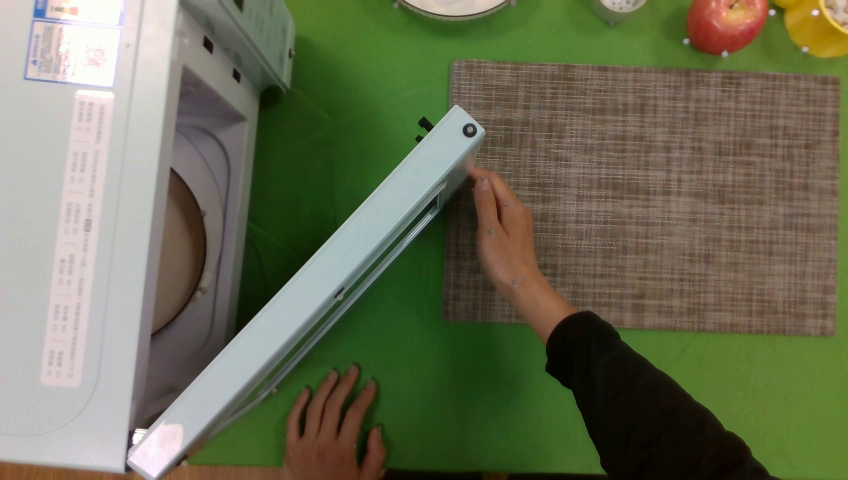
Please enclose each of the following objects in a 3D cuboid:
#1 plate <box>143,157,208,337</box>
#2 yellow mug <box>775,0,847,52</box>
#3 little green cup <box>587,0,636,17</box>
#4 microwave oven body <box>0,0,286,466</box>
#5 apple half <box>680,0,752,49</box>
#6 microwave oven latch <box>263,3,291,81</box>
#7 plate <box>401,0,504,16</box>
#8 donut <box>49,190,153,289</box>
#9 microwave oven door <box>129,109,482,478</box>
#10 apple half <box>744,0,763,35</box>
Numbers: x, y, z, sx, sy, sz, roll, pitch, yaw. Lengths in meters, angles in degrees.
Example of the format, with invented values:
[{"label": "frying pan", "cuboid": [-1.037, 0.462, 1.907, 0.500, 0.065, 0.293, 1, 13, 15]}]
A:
[{"label": "plate", "cuboid": [-0.321, 0.003, 0.613, 0.209, 0.038, 0.209, 0, 88, -1]}, {"label": "yellow mug", "cuboid": [0.449, -0.274, 0.675, 0.131, 0.064, 0.100, 13, 87, 1]}, {"label": "little green cup", "cuboid": [0.214, -0.286, 0.689, 0.061, 0.038, 0.061, 0, 88, 0]}, {"label": "microwave oven body", "cuboid": [-0.328, -0.059, 0.563, 0.326, 0.260, 0.441, 5, 89, 0]}, {"label": "apple half", "cuboid": [0.314, -0.248, 0.671, 0.053, 0.074, 0.081, -24, 92, 4]}, {"label": "microwave oven latch", "cuboid": [-0.164, -0.218, 0.665, 0.030, 0.029, 0.079, 8, 89, 0]}, {"label": "plate", "cuboid": [0.032, -0.353, 0.690, 0.208, 0.039, 0.207, 0, 88, 0]}, {"label": "donut", "cuboid": [-0.319, -0.001, 0.600, 0.099, 0.048, 0.099, 0, 87, 0]}, {"label": "microwave oven door", "cuboid": [-0.086, 0.042, 0.557, 0.039, 0.244, 0.355, 43, 88, 3]}, {"label": "apple half", "cuboid": [0.350, -0.264, 0.670, 0.033, 0.081, 0.081, -25, 88, 4]}]
